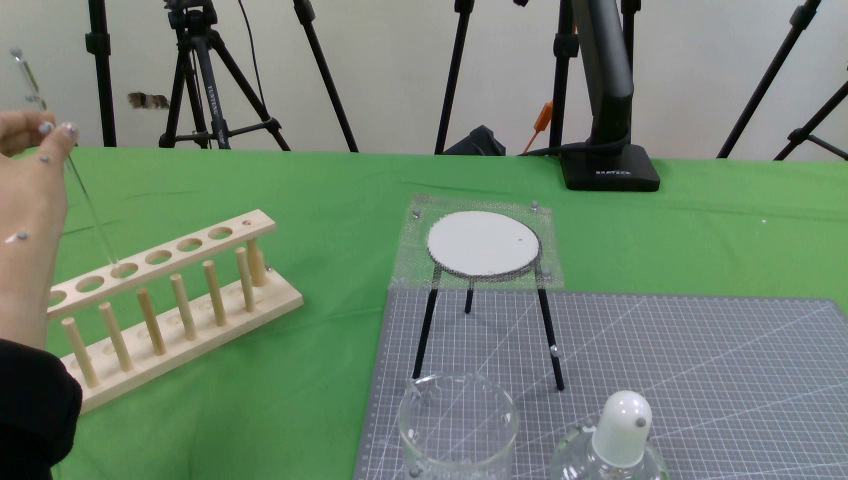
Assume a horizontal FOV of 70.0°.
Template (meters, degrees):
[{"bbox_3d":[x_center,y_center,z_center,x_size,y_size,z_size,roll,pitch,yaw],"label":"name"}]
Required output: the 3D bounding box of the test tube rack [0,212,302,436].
[{"bbox_3d":[-0.236,0.064,0.543,0.243,0.086,0.066,-26,41,-32],"label":"test tube rack"}]

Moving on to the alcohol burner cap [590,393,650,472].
[{"bbox_3d":[0.122,0.114,0.370,0.034,0.048,0.033,2,36,-1],"label":"alcohol burner cap"}]

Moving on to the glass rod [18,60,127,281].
[{"bbox_3d":[-0.265,-0.040,0.465,0.008,0.201,0.008,-1,39,1],"label":"glass rod"}]

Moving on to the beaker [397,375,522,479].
[{"bbox_3d":[0.019,0.148,0.398,0.074,0.101,0.083,-27,41,-33],"label":"beaker"}]

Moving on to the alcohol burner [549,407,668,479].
[{"bbox_3d":[0.121,0.144,0.390,0.078,0.120,0.077,0,36,0],"label":"alcohol burner"}]

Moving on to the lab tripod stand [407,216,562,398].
[{"bbox_3d":[0.050,0.058,0.502,0.148,0.132,0.147,1,33,0],"label":"lab tripod stand"}]

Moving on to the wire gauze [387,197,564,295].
[{"bbox_3d":[0.041,0.003,0.462,0.121,0.011,0.124,4,35,4],"label":"wire gauze"}]
